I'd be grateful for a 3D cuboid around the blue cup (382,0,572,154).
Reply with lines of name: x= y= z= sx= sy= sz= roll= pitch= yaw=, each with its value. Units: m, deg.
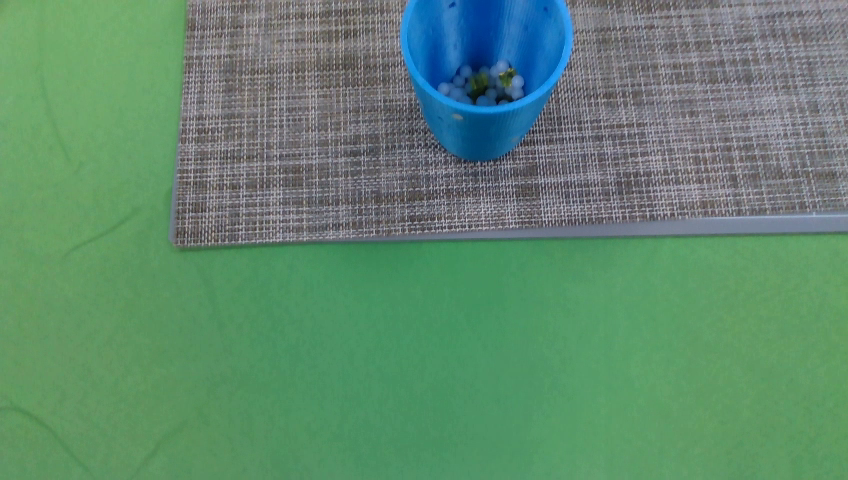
blue cup: x=0.032 y=-0.094 z=0.343 sx=0.092 sy=0.100 sz=0.092 roll=0 pitch=78 yaw=2
